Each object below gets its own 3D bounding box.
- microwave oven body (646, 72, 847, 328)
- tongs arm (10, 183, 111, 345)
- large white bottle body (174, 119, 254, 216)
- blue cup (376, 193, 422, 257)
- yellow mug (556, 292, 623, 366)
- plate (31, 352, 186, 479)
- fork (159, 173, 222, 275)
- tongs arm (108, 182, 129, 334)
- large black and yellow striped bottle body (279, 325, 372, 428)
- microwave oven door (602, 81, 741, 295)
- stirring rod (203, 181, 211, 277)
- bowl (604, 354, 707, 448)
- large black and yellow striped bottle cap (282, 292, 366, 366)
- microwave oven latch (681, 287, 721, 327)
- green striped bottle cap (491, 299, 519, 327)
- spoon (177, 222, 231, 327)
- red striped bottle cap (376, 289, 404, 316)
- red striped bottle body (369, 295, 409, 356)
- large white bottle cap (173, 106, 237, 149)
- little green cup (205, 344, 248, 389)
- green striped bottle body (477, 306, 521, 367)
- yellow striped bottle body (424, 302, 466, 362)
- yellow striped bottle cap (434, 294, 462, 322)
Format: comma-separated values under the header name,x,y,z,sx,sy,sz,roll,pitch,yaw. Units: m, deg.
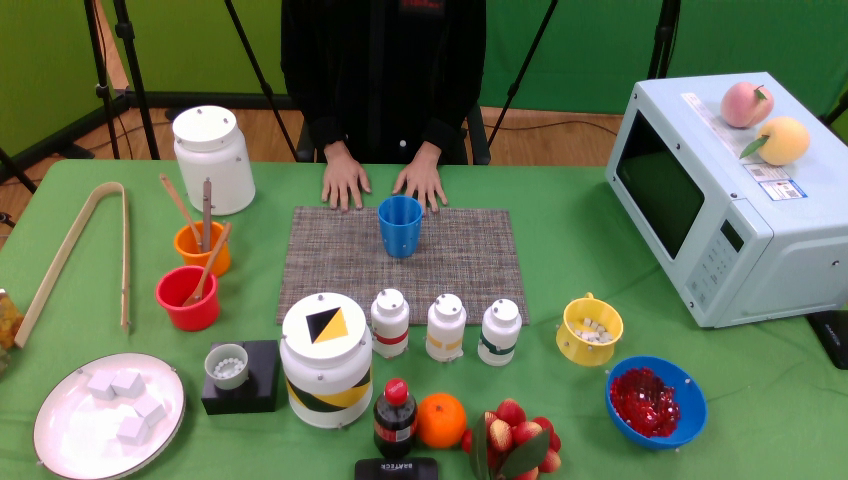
name,x,y,z,sx,sy,sz,roll,pitch,yaw
microwave oven body,0.607,-0.089,1.164,0.326,0.261,0.438,-7,46,-10
tongs arm,-0.658,0.027,1.109,0.028,0.028,0.385,-2,45,2
large white bottle body,-0.415,-0.154,1.199,0.131,0.185,0.130,2,46,-2
blue cup,-0.047,-0.021,1.155,0.093,0.101,0.092,1,47,-1
yellow mug,0.285,0.145,1.051,0.100,0.064,0.130,7,46,4
plate,-0.459,0.262,0.898,0.209,0.038,0.208,2,46,-2
fork,-0.427,-0.029,1.103,0.028,0.018,0.207,-31,99,-30
tongs arm,-0.571,0.019,1.123,0.051,0.026,0.382,-10,47,-12
large black and yellow striped bottle body,-0.143,0.181,0.900,0.131,0.185,0.130,2,46,-2
microwave oven door,0.456,-0.107,1.162,0.039,0.245,0.353,-7,47,-11
stirring rod,-0.397,-0.021,1.107,0.014,0.006,0.176,0,89,-2
bowl,0.346,0.261,0.937,0.151,0.077,0.150,2,46,-2
large black and yellow striped bottle cap,-0.138,0.121,0.841,0.115,0.019,0.114,3,47,-3
microwave oven latch,0.494,0.120,1.087,0.030,0.029,0.078,-6,46,-9
green striped bottle cap,0.128,0.115,0.958,0.044,0.020,0.044,1,46,-1
spoon,-0.369,0.059,1.027,0.041,0.022,0.193,25,94,18
red striped bottle cap,-0.054,0.098,0.958,0.044,0.018,0.044,0,48,1
red striped bottle body,-0.059,0.134,0.997,0.063,0.120,0.062,5,48,-5
large white bottle cap,-0.411,-0.212,1.138,0.115,0.018,0.114,3,47,-2
little green cup,-0.294,0.191,0.909,0.061,0.039,0.061,1,47,-1
green striped bottle body,0.124,0.151,0.995,0.063,0.120,0.063,2,46,-2
yellow striped bottle body,0.035,0.143,0.995,0.063,0.121,0.062,3,46,-3
yellow striped bottle cap,0.038,0.107,0.958,0.044,0.019,0.044,2,45,-2
